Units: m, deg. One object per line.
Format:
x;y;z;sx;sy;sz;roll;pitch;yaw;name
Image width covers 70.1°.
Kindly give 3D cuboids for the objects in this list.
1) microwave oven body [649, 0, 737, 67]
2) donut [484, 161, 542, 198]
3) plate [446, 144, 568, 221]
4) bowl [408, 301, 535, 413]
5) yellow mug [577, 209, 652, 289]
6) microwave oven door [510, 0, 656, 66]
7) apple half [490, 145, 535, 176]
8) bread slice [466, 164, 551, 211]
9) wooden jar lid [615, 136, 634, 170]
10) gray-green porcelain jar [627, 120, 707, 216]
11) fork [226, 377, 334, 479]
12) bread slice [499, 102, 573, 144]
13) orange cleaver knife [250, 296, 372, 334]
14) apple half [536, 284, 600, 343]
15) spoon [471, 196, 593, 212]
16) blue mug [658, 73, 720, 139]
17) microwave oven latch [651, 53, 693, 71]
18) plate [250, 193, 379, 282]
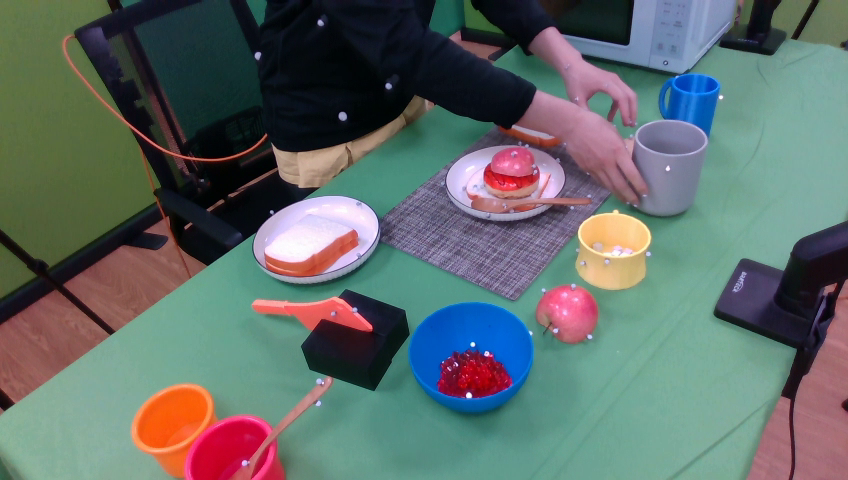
0.475;-0.602;1.411;0.438;0.261;0.327;23;50;32;microwave oven body
0.149;-0.109;1.016;0.099;0.048;0.098;-4;41;4;donut
0.142;-0.096;1.045;0.207;0.039;0.206;-4;40;4;plate
0.060;0.156;0.739;0.151;0.077;0.150;-4;40;4;bowl
0.279;0.004;0.893;0.099;0.064;0.130;5;41;15;yellow mug
0.350;-0.539;1.348;0.353;0.245;0.039;24;50;31;microwave oven door
0.147;-0.138;0.994;0.081;0.033;0.081;2;38;-1;apple half
0.141;-0.092;1.042;0.133;0.018;0.107;10;43;19;bread slice
0.398;-0.151;1.086;0.108;0.021;0.108;-1;42;2;wooden jar lid
0.383;-0.110;0.964;0.106;0.127;0.105;-4;41;4;gray-green porcelain jar
-0.163;0.216;0.647;0.207;0.019;0.028;-49;41;16;fork
0.231;-0.233;1.205;0.105;0.019;0.130;-36;48;-28;bread slice
-0.159;0.103;0.828;0.210;0.078;0.012;-4;43;39;orange cleaver knife
0.196;0.091;0.815;0.075;0.053;0.080;-22;42;-20;apple half
0.171;-0.060;0.974;0.193;0.022;0.041;-3;43;18;spoon
0.483;-0.250;1.127;0.082;0.106;0.115;-26;44;-19;blue mug
0.532;-0.386;1.301;0.078;0.029;0.030;27;52;34;microwave oven latch
-0.174;-0.001;0.984;0.209;0.038;0.208;-4;40;4;plate
